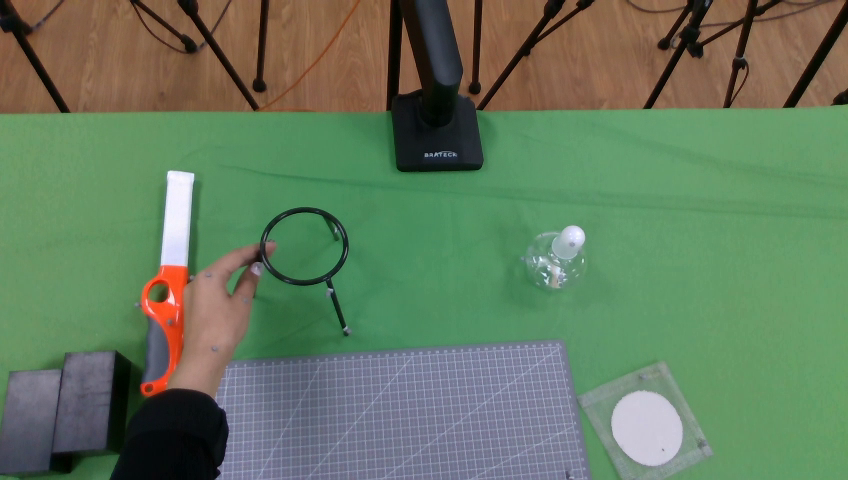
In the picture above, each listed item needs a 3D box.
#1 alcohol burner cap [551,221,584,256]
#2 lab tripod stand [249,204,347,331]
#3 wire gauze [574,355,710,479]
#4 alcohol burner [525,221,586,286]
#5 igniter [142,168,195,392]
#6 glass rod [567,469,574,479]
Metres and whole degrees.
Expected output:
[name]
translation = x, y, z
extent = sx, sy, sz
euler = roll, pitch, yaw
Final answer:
[alcohol burner cap]
translation = 0.170, -0.004, 0.704
extent = 0.034, 0.048, 0.033
euler = 1, 70, -3
[lab tripod stand]
translation = -0.131, 0.025, 0.680
extent = 0.148, 0.132, 0.147
euler = 2, 64, -5
[wire gauze]
translation = 0.260, 0.212, 0.718
extent = 0.125, 0.011, 0.120
euler = -20, 70, -13
[alcohol burner]
translation = 0.165, 0.011, 0.737
extent = 0.078, 0.120, 0.077
euler = 3, 64, -6
[igniter]
translation = -0.295, 0.039, 0.710
extent = 0.057, 0.025, 0.274
euler = 5, 65, -22
[glass rod]
translation = 0.173, 0.348, 0.642
extent = 0.008, 0.008, 0.198
euler = -3, 66, -9
